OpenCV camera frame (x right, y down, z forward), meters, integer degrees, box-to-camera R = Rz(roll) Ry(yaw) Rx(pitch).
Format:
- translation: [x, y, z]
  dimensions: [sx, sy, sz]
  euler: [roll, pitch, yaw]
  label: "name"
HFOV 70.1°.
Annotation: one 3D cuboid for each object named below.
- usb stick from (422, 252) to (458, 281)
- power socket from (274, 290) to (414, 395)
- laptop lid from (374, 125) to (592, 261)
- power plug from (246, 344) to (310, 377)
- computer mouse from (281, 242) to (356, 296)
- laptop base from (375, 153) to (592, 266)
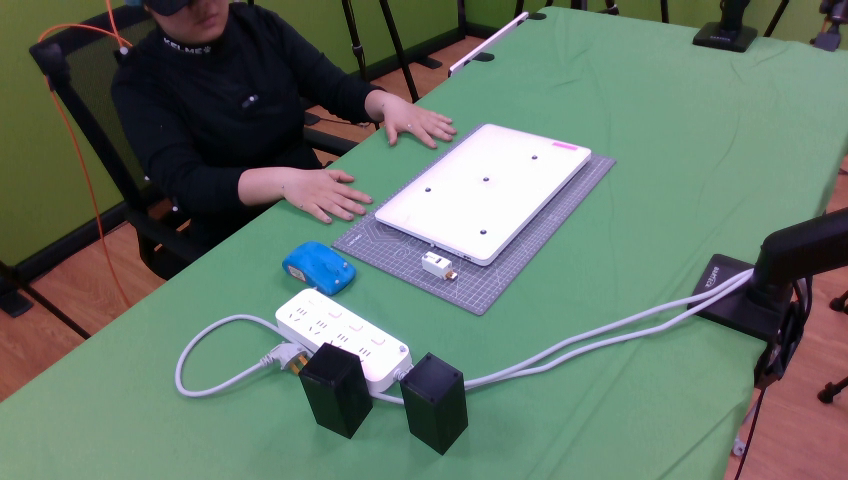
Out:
- translation: [0.025, 0.042, 0.908]
  dimensions: [0.058, 0.027, 0.021]
  euler: [27, 49, 31]
  label: "usb stick"
- translation: [-0.114, 0.134, 0.820]
  dimensions: [0.225, 0.033, 0.072]
  euler: [25, 49, 33]
  label: "power socket"
- translation: [0.109, -0.101, 1.057]
  dimensions: [0.239, 0.013, 0.358]
  euler: [23, 49, 34]
  label: "laptop lid"
- translation: [-0.188, 0.168, 0.797]
  dimensions: [0.072, 0.035, 0.052]
  euler: [-41, 69, -7]
  label: "power plug"
- translation: [-0.164, 0.041, 0.934]
  dimensions: [0.116, 0.041, 0.063]
  euler: [27, 48, 28]
  label: "computer mouse"
- translation: [0.112, -0.091, 1.063]
  dimensions: [0.233, 0.023, 0.355]
  euler: [21, 48, 34]
  label: "laptop base"
